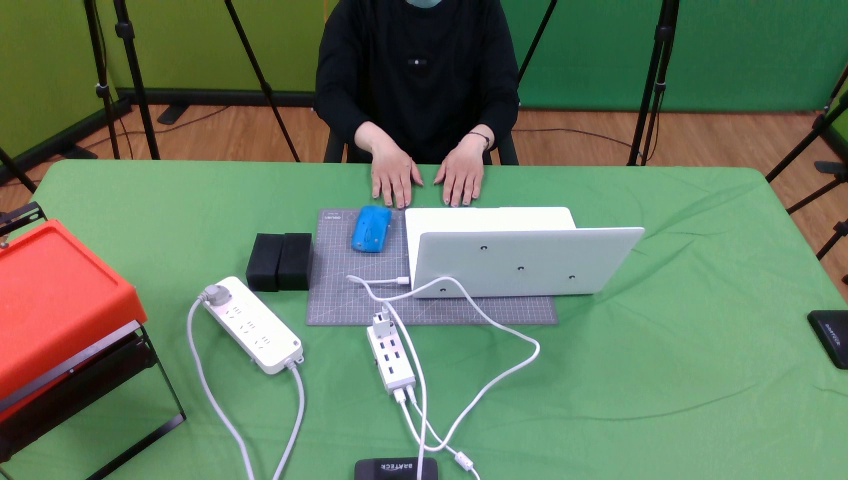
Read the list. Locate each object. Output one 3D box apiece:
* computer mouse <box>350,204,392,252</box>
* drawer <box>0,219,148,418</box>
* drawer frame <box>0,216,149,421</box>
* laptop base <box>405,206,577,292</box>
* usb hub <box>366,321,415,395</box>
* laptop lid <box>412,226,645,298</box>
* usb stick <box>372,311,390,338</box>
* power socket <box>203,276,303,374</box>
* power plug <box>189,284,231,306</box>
[{"bbox_3d":[-0.104,-0.027,1.202,0.063,0.041,0.116,11,51,4],"label":"computer mouse"},{"bbox_3d":[-0.509,0.093,0.783,0.193,0.073,0.211,32,53,24],"label":"drawer"},{"bbox_3d":[-0.510,0.093,0.780,0.201,0.083,0.213,31,52,23],"label":"drawer frame"},{"bbox_3d":[0.143,0.018,1.196,0.355,0.023,0.234,-1,43,-6],"label":"laptop base"},{"bbox_3d":[-0.056,0.194,1.007,0.049,0.025,0.124,-12,49,-15],"label":"usb hub"},{"bbox_3d":[0.161,0.042,1.012,0.357,0.242,0.013,0,59,-7],"label":"laptop lid"},{"bbox_3d":[-0.072,0.146,1.012,0.027,0.059,0.021,-13,50,-18],"label":"usb stick"},{"bbox_3d":[-0.296,0.141,1.034,0.072,0.033,0.225,-35,58,-30],"label":"power socket"},{"bbox_3d":[-0.368,0.100,1.037,0.072,0.053,0.035,-24,53,-26],"label":"power plug"}]
